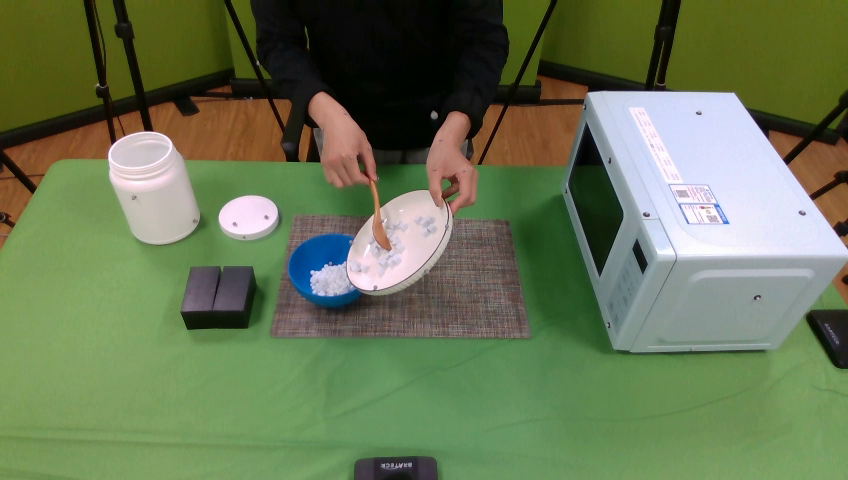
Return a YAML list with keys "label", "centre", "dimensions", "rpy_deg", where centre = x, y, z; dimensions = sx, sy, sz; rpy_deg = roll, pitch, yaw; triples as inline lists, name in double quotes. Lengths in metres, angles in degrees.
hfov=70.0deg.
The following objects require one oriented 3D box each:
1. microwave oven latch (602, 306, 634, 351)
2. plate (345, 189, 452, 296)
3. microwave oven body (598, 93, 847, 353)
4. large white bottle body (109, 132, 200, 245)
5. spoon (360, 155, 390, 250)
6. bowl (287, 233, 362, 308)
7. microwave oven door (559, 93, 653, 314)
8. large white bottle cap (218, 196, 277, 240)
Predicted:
- label: "microwave oven latch"
  centre: [0.332, 0.153, 1.044]
  dimensions: [0.030, 0.029, 0.078]
  rpy_deg: [0, 45, -4]
- label: "plate"
  centre: [-0.039, 0.007, 0.999]
  dimensions: [0.209, 0.038, 0.208]
  rpy_deg: [-25, 41, 24]
- label: "microwave oven body"
  centre: [0.475, -0.041, 1.109]
  dimensions: [0.326, 0.261, 0.438]
  rpy_deg: [-1, 45, -4]
- label: "large white bottle body"
  centre: [-0.506, -0.097, 1.141]
  dimensions: [0.131, 0.185, 0.130]
  rpy_deg: [2, 46, -2]
- label: "spoon"
  centre: [-0.087, -0.067, 1.048]
  dimensions: [0.021, 0.042, 0.192]
  rpy_deg: [-23, 65, 25]
- label: "bowl"
  centre: [-0.165, 0.068, 1.078]
  dimensions: [0.151, 0.077, 0.150]
  rpy_deg: [3, 45, -3]
- label: "microwave oven door"
  centre: [0.327, -0.075, 1.123]
  dimensions: [0.039, 0.245, 0.353]
  rpy_deg: [-1, 46, -5]
- label: "large white bottle cap"
  centre: [-0.354, -0.045, 1.220]
  dimensions: [0.115, 0.018, 0.114]
  rpy_deg: [2, 45, -2]
